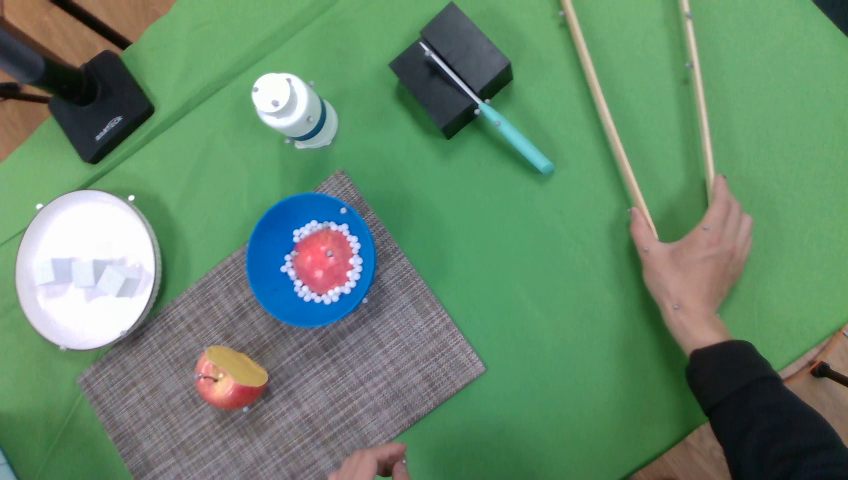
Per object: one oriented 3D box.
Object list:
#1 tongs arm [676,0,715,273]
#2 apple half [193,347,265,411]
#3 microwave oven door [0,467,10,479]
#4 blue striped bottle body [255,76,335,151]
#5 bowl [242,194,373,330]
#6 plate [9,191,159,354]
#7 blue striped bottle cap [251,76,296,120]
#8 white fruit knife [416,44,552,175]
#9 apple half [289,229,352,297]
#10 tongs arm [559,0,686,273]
[{"bbox_3d":[0.275,-0.158,0.658,0.051,0.026,0.383,-8,83,8],"label":"tongs arm"},{"bbox_3d":[-0.234,0.170,0.712,0.080,0.075,0.053,34,96,8],"label":"apple half"},{"bbox_3d":[-0.472,0.427,0.637,0.039,0.245,0.354,-39,79,5],"label":"microwave oven door"},{"bbox_3d":[-0.151,-0.147,0.701,0.063,0.121,0.063,-1,84,11],"label":"blue striped bottle body"},{"bbox_3d":[-0.122,0.026,0.699,0.151,0.077,0.151,-1,86,12],"label":"bowl"},{"bbox_3d":[-0.433,0.042,0.783,0.207,0.039,0.207,-1,85,10],"label":"plate"},{"bbox_3d":[-0.162,-0.153,0.651,0.044,0.021,0.044,-1,87,10],"label":"blue striped bottle cap"},{"bbox_3d":[0.067,-0.145,0.676,0.208,0.027,0.016,43,112,-5],"label":"white fruit knife"},{"bbox_3d":[-0.122,0.026,0.695,0.081,0.033,0.081,-1,84,12],"label":"apple half"},{"bbox_3d":[0.204,-0.143,0.669,0.028,0.028,0.386,-18,81,3],"label":"tongs arm"}]
